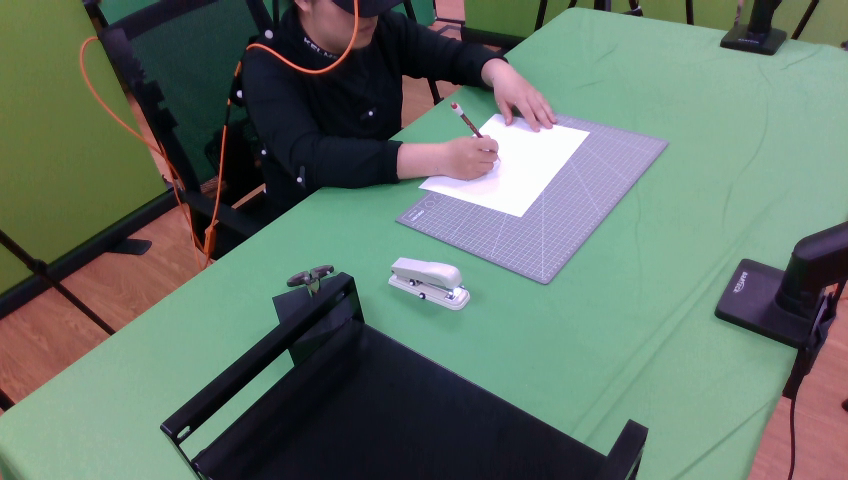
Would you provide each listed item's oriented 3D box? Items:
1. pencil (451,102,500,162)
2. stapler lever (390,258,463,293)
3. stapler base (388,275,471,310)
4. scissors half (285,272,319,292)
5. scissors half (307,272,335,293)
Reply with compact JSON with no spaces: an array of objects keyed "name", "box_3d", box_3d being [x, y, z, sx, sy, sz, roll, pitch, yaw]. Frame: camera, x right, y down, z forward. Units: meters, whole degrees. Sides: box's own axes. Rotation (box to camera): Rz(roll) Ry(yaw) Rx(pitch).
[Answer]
[{"name":"pencil","box_3d":[0.095,-0.186,1.064,0.012,0.196,0.012,-14,60,26]},{"name":"stapler lever","box_3d":[0.003,0.046,0.881,0.117,0.040,0.027,17,44,29]},{"name":"stapler base","box_3d":[0.007,0.066,0.897,0.129,0.024,0.041,17,43,29]},{"name":"scissors half","box_3d":[-0.171,0.063,0.868,0.040,0.013,0.174,-9,6,-21]},{"name":"scissors half","box_3d":[-0.151,0.061,0.872,0.040,0.013,0.175,-2,5,-4]}]
